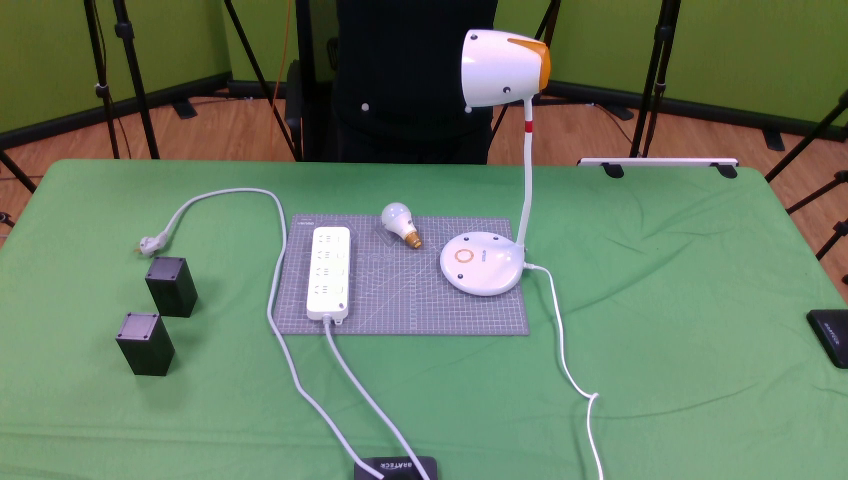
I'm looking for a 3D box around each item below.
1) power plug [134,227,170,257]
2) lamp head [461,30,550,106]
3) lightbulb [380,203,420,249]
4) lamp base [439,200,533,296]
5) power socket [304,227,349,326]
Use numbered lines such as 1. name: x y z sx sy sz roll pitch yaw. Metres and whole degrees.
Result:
1. power plug: -0.515 0.006 1.152 0.052 0.035 0.072 -6 23 7
2. lamp head: 0.122 -0.250 0.892 0.123 0.113 0.112 8 45 13
3. lightbulb: -0.043 -0.026 1.197 0.059 0.060 0.107 -28 70 -28
4. lamp base: 0.126 -0.011 1.103 0.179 0.181 0.159 2 46 -6
5. power socket: -0.177 0.059 1.115 0.072 0.033 0.225 -1 46 -4
